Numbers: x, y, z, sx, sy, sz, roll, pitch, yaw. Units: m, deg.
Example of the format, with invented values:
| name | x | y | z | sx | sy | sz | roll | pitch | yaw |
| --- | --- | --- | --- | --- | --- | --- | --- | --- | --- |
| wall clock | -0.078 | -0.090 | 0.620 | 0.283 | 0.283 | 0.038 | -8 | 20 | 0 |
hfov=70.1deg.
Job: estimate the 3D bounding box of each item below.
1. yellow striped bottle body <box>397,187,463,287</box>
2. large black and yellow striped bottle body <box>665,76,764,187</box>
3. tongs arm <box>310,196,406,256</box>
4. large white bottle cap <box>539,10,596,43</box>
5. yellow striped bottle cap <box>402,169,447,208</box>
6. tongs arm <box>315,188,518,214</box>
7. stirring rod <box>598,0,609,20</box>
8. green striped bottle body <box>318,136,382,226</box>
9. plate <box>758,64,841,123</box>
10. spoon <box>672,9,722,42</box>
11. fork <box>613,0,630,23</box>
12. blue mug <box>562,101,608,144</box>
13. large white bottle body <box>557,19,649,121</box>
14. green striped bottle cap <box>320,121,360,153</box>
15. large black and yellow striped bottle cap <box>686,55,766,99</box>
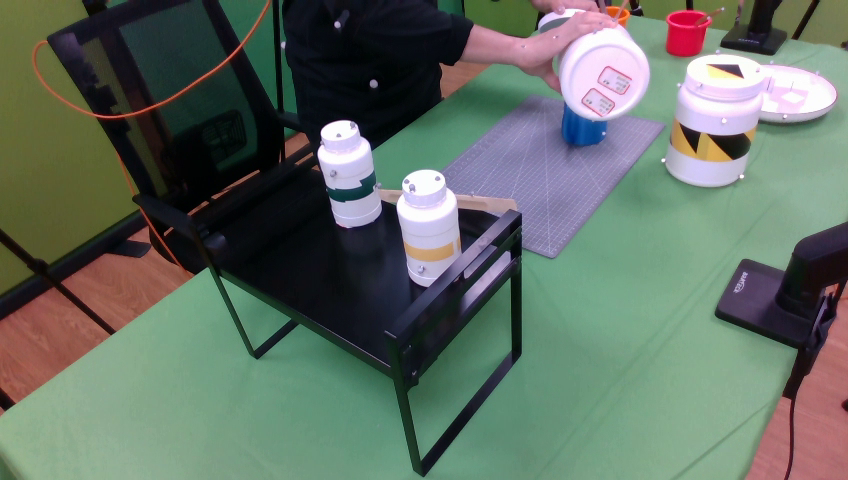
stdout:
| name | x | y | z | sx | sy | sz | roll | pitch | yaw |
| --- | --- | --- | --- | --- | --- | --- | --- | --- | --- |
| yellow striped bottle body | 0.007 | -0.013 | 0.638 | 0.063 | 0.121 | 0.062 | -5 | 41 | 4 |
| large black and yellow striped bottle body | 0.482 | -0.196 | 1.008 | 0.131 | 0.185 | 0.130 | -4 | 41 | 4 |
| tongs arm | -0.078 | -0.012 | 0.944 | 0.028 | 0.028 | 0.384 | -43 | 39 | -23 |
| large white bottle cap | 0.286 | -0.425 | 1.205 | 0.114 | 0.115 | 0.018 | 2 | 85 | 11 |
| yellow striped bottle cap | 0.000 | -0.052 | 0.605 | 0.044 | 0.019 | 0.044 | -5 | 43 | 5 |
| tongs arm | -0.028 | -0.060 | 0.988 | 0.382 | 0.027 | 0.051 | 9 | 45 | 36 |
| stirring rod | 0.437 | -0.551 | 1.462 | 0.014 | 0.006 | 0.175 | -11 | 83 | 1 |
| green striped bottle body | -0.090 | -0.081 | 0.733 | 0.063 | 0.120 | 0.063 | -5 | 41 | 4 |
| plate | 0.695 | -0.283 | 1.189 | 0.207 | 0.039 | 0.206 | -4 | 40 | 4 |
| spoon | 0.606 | -0.476 | 1.345 | 0.042 | 0.021 | 0.193 | -6 | -3 | -2 |
| fork | 0.480 | -0.556 | 1.453 | 0.028 | 0.019 | 0.207 | 41 | 103 | 40 |
| blue mug | 0.298 | -0.240 | 1.143 | 0.081 | 0.106 | 0.117 | 30 | 53 | 36 |
| large white bottle body | 0.287 | -0.286 | 0.994 | 0.130 | 0.131 | 0.184 | 0 | 31 | 9 |
| green striped bottle cap | -0.097 | -0.120 | 0.699 | 0.044 | 0.020 | 0.044 | -4 | 39 | 4 |
| large black and yellow striped bottle cap | 0.474 | -0.258 | 0.952 | 0.115 | 0.019 | 0.114 | -5 | 41 | 5 |
